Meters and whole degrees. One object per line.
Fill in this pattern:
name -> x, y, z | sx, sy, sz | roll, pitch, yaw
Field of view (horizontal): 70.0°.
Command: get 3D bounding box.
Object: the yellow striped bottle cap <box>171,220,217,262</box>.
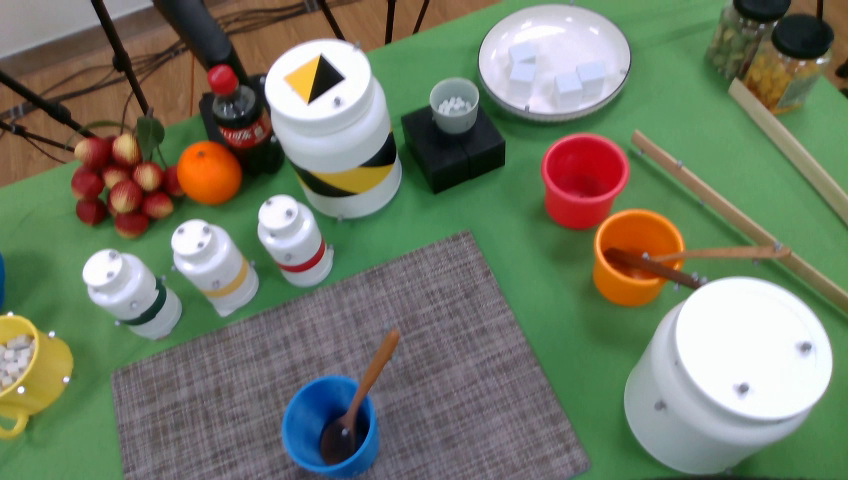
yellow striped bottle cap -> -0.245, 0.001, 0.645 | 0.044, 0.019, 0.044 | -2, 61, 4

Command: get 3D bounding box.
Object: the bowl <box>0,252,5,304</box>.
bowl -> -0.572, 0.059, 0.732 | 0.151, 0.077, 0.150 | -2, 61, 4

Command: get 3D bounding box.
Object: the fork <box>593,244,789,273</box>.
fork -> 0.263, 0.017, 0.623 | 0.206, 0.019, 0.028 | -11, 39, 54

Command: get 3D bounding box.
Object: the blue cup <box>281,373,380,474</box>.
blue cup -> -0.082, 0.187, 0.589 | 0.092, 0.101, 0.092 | -3, 59, 5

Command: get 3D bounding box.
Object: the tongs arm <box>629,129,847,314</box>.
tongs arm -> 0.392, -0.015, 0.692 | 0.051, 0.027, 0.381 | -33, 63, -14

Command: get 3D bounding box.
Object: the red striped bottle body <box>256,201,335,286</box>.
red striped bottle body -> -0.149, 0.001, 0.695 | 0.063, 0.121, 0.062 | -5, 60, 9

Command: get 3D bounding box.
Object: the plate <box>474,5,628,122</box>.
plate -> 0.174, -0.242, 0.843 | 0.209, 0.038, 0.207 | -2, 61, 5

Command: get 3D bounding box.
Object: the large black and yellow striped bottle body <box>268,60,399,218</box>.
large black and yellow striped bottle body -> -0.106, -0.125, 0.724 | 0.130, 0.185, 0.129 | -3, 60, 5

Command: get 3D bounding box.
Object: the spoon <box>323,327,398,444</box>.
spoon -> -0.061, 0.148, 0.562 | 0.022, 0.195, 0.041 | -22, 58, -44

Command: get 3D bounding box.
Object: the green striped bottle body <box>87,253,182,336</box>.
green striped bottle body -> -0.328, 0.058, 0.681 | 0.063, 0.120, 0.062 | -3, 60, 5

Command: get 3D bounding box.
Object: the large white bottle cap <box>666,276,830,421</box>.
large white bottle cap -> 0.249, 0.081, 0.469 | 0.115, 0.018, 0.114 | -3, 60, 5

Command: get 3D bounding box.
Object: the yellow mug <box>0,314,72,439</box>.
yellow mug -> -0.460, 0.155, 0.672 | 0.100, 0.064, 0.129 | -13, 60, -2

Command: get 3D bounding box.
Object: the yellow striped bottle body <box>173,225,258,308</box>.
yellow striped bottle body -> -0.239, 0.026, 0.689 | 0.063, 0.121, 0.062 | -3, 60, 6

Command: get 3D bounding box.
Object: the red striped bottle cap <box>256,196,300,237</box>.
red striped bottle cap -> -0.156, -0.026, 0.649 | 0.044, 0.018, 0.044 | -1, 57, 2

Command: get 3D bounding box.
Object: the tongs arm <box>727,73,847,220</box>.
tongs arm -> 0.468, -0.057, 0.707 | 0.028, 0.028, 0.383 | -18, 61, -10

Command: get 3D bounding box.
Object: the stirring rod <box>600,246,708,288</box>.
stirring rod -> 0.236, 0.028, 0.626 | 0.014, 0.006, 0.175 | -28, 18, -11

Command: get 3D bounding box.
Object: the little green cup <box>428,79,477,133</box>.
little green cup -> 0.036, -0.166, 0.757 | 0.061, 0.039, 0.061 | -2, 59, 4

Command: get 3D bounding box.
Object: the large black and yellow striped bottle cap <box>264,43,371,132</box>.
large black and yellow striped bottle cap -> -0.114, -0.165, 0.650 | 0.115, 0.019, 0.114 | -3, 60, 6

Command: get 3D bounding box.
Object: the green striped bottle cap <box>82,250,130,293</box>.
green striped bottle cap -> -0.334, 0.033, 0.636 | 0.044, 0.020, 0.044 | -3, 59, 5

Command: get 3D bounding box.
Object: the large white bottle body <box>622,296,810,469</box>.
large white bottle body -> 0.258, 0.123, 0.542 | 0.130, 0.186, 0.129 | -3, 60, 5
